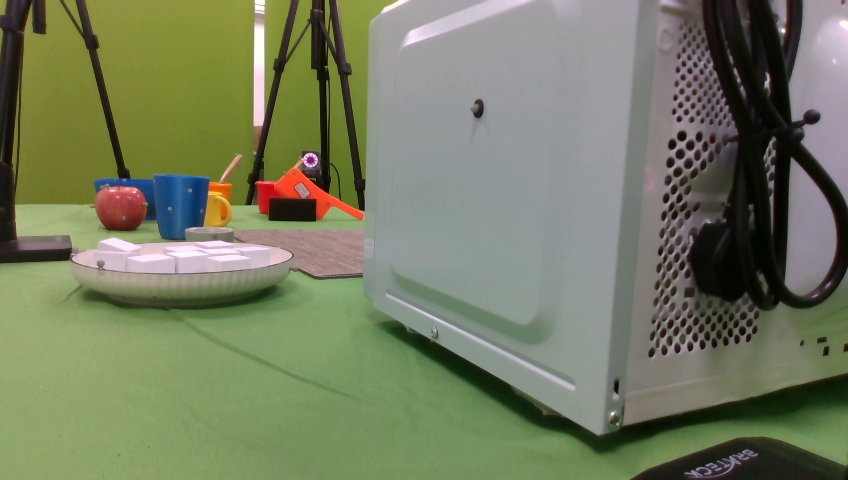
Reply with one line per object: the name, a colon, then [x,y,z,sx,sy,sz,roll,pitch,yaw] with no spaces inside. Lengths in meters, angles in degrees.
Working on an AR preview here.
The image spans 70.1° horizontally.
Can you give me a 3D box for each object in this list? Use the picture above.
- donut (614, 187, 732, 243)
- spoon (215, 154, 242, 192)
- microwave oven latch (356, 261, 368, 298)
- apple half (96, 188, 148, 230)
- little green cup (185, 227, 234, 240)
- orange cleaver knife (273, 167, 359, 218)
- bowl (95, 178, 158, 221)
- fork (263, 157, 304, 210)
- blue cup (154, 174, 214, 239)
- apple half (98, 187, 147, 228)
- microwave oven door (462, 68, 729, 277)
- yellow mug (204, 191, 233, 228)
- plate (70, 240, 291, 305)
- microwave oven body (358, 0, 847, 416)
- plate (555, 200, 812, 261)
donut: [0.220,-0.021,0.541,0.099,0.048,0.099,6,3,0]
spoon: [-0.438,-0.124,1.318,0.041,0.193,0.022,6,-36,15]
microwave oven latch: [-0.019,0.033,0.529,0.079,0.029,0.030,0,7,-25]
apple half: [-0.517,-0.052,1.036,0.081,0.074,0.053,2,10,-26]
little green cup: [-0.285,0.005,0.805,0.061,0.038,0.061,2,8,0]
orange cleaver knife: [-0.238,-0.091,1.381,0.212,0.077,0.012,31,0,-19]
bowl: [-0.576,-0.081,1.217,0.151,0.077,0.151,3,8,0]
fork: [-0.345,-0.143,1.505,0.028,0.019,0.207,-3,46,28]
blue cup: [-0.391,-0.053,0.977,0.093,0.100,0.092,4,6,0]
apple half: [-0.534,-0.059,1.071,0.082,0.081,0.032,-1,11,-25]
microwave oven door: [0.205,-0.096,0.811,0.354,0.243,0.039,9,11,40]
yellow mug: [-0.415,-0.057,1.132,0.130,0.064,0.100,6,8,16]
plate: [-0.242,0.031,0.618,0.208,0.039,0.207,2,8,0]
microwave oven body: [0.211,-0.047,0.474,0.444,0.260,0.324,-1,7,-28]
plate: [0.222,-0.011,0.537,0.209,0.038,0.209,-1,8,0]
